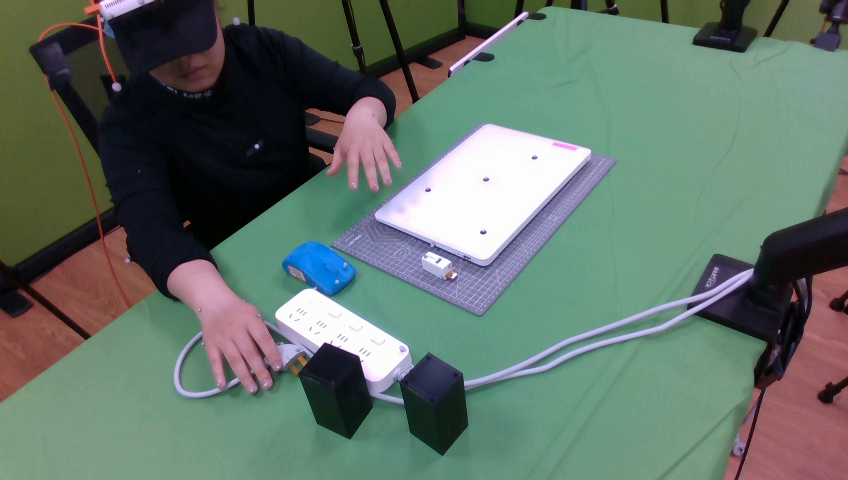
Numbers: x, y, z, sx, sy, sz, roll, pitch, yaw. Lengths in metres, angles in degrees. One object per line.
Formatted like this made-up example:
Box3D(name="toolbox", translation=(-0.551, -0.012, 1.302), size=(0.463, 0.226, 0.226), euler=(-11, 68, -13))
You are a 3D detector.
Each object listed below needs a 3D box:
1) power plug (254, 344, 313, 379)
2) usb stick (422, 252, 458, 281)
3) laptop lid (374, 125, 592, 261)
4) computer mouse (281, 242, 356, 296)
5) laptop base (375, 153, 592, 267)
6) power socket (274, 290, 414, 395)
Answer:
Box3D(name="power plug", translation=(-0.183, 0.170, 0.806), size=(0.052, 0.072, 0.035), euler=(41, 12, 12))
Box3D(name="usb stick", translation=(0.025, 0.042, 0.908), size=(0.058, 0.027, 0.021), euler=(27, 50, 31))
Box3D(name="laptop lid", translation=(0.109, -0.101, 1.057), size=(0.239, 0.013, 0.358), euler=(23, 48, 34))
Box3D(name="computer mouse", translation=(-0.164, 0.041, 0.934), size=(0.116, 0.041, 0.063), euler=(27, 48, 28))
Box3D(name="laptop base", translation=(0.112, -0.091, 1.063), size=(0.233, 0.023, 0.355), euler=(21, 47, 34))
Box3D(name="power socket", translation=(-0.114, 0.134, 0.820), size=(0.225, 0.033, 0.072), euler=(25, 49, 33))
